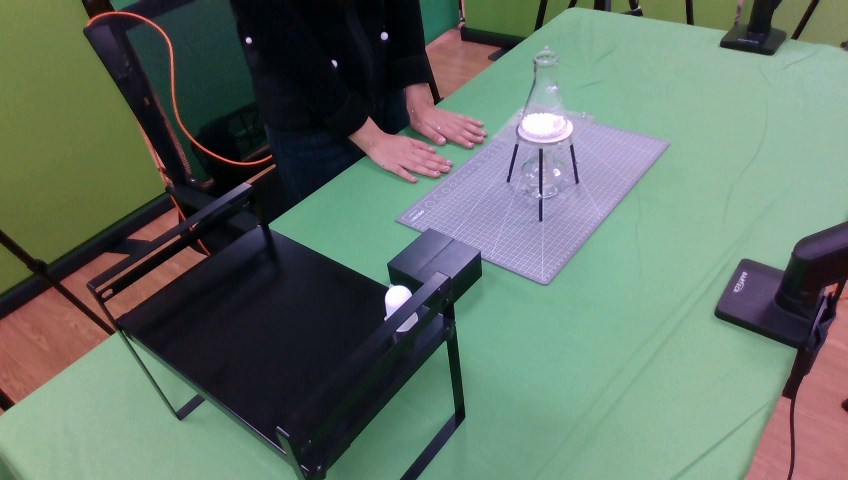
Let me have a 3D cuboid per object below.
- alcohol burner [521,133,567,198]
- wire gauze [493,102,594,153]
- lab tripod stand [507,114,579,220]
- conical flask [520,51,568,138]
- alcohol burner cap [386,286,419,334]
[{"bbox_3d":[0.204,-0.131,1.024,0.078,0.119,0.077,-5,42,5],"label":"alcohol burner"},{"bbox_3d":[0.191,-0.179,0.965,0.120,0.011,0.125,18,49,29],"label":"wire gauze"},{"bbox_3d":[0.199,-0.128,1.005,0.148,0.132,0.147,-3,42,3],"label":"lab tripod stand"},{"bbox_3d":[0.185,-0.223,0.926,0.075,0.122,0.075,-4,41,4],"label":"conical flask"},{"bbox_3d":[-0.024,0.067,0.604,0.034,0.048,0.033,-4,39,4],"label":"alcohol burner cap"}]
